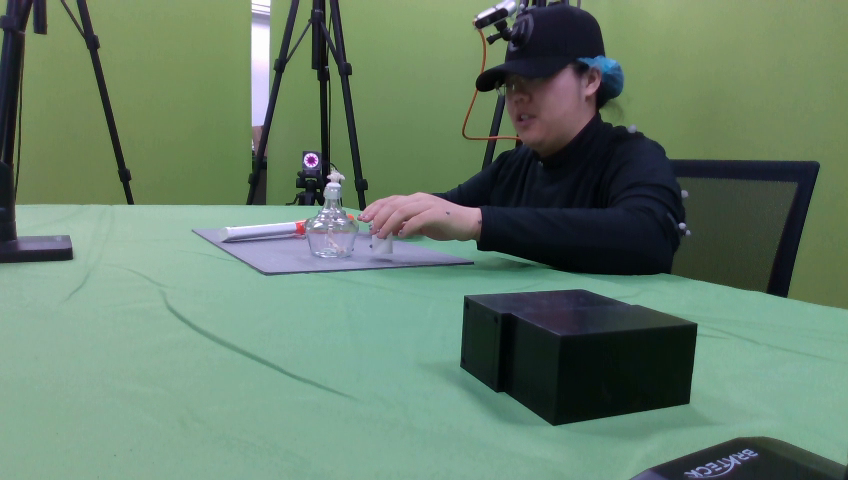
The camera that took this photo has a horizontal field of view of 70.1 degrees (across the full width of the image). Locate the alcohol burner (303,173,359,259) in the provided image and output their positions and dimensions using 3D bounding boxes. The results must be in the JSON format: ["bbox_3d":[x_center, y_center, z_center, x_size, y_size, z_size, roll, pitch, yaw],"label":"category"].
[{"bbox_3d":[-0.130,-0.034,0.850,0.078,0.119,0.078,2,5,0],"label":"alcohol burner"}]

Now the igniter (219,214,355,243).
[{"bbox_3d":[-0.219,-0.021,1.033,0.057,0.025,0.278,-20,-7,39],"label":"igniter"}]

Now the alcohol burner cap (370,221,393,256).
[{"bbox_3d":[-0.058,-0.002,0.833,0.034,0.048,0.034,2,2,0],"label":"alcohol burner cap"}]
